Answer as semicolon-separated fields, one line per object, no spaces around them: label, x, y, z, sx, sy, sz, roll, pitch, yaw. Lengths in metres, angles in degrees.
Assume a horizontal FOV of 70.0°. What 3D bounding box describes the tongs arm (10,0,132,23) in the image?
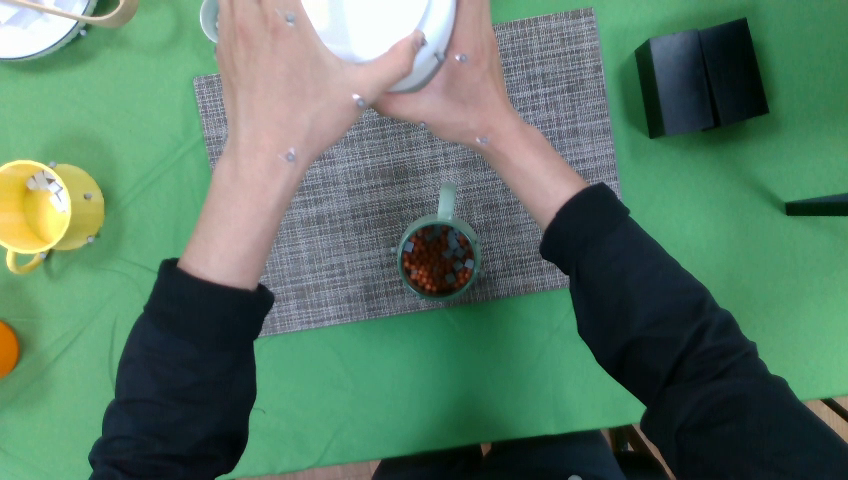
tongs arm;-0.497;-0.292;0.633;0.385;0.026;0.051;19;92;2

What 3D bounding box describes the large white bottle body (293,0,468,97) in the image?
large white bottle body;-0.037;-0.186;0.484;0.130;0.184;0.131;1;100;9

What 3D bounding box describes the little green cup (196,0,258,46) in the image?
little green cup;-0.212;-0.242;0.660;0.061;0.038;0.061;0;95;2

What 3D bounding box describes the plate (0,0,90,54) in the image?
plate;-0.455;-0.306;0.662;0.207;0.039;0.208;0;95;2

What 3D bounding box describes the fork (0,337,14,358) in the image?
fork;-0.561;0.119;0.643;0.209;0.018;0.028;5;92;-42

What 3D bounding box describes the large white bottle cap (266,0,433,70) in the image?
large white bottle cap;-0.050;-0.172;0.401;0.114;0.018;0.115;1;100;7

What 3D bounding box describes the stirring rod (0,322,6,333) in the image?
stirring rod;-0.534;0.151;0.651;0.014;0.006;0.175;40;52;-2

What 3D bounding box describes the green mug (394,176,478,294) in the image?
green mug;0.015;-0.005;0.636;0.092;0.105;0.125;7;94;2

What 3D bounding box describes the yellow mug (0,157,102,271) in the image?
yellow mug;-0.428;-0.026;0.670;0.100;0.064;0.131;23;96;0
